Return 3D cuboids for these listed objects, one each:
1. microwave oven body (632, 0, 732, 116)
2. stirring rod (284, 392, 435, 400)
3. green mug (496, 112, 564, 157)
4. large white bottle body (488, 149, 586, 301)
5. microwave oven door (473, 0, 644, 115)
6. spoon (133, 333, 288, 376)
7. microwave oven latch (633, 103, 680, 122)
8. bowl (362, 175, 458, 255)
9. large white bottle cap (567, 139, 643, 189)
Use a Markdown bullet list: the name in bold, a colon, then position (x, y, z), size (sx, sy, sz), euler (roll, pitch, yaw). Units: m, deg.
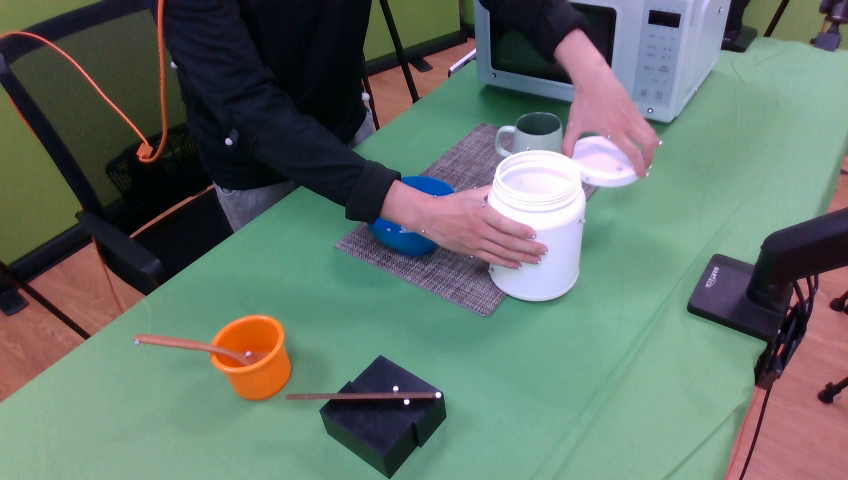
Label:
- **microwave oven body**: position (0.377, -0.462, 1.267), size (0.438, 0.261, 0.327), euler (21, 48, 30)
- **stirring rod**: position (-0.075, 0.180, 0.698), size (0.176, 0.006, 0.014), euler (-2, 6, 7)
- **green mug**: position (0.185, -0.161, 1.061), size (0.124, 0.105, 0.092), euler (15, 46, 24)
- **large white bottle body**: position (0.155, -0.020, 0.837), size (0.130, 0.185, 0.130), euler (-4, 40, 4)
- **microwave oven door**: position (0.257, -0.396, 1.199), size (0.353, 0.245, 0.039), euler (21, 48, 29)
- **spoon**: position (-0.257, 0.137, 0.747), size (0.021, 0.195, 0.041), euler (-49, 39, 21)
- **microwave oven latch**: position (0.444, -0.249, 1.157), size (0.078, 0.029, 0.030), euler (21, 49, 30)
- **bowl**: position (-0.018, -0.029, 0.955), size (0.151, 0.077, 0.150), euler (-3, 38, 3)
- **large white bottle cap**: position (0.278, -0.118, 0.932), size (0.115, 0.018, 0.114), euler (-1, 41, 2)
